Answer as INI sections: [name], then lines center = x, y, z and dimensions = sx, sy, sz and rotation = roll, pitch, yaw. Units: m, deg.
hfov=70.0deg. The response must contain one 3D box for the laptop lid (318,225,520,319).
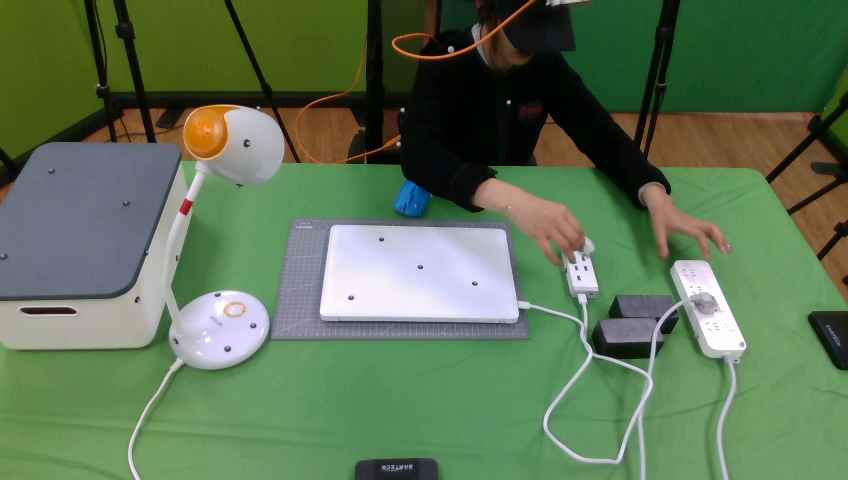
[laptop lid]
center = -0.009, 0.053, 1.130
dimensions = 0.357, 0.013, 0.240
rotation = 2, 43, -2

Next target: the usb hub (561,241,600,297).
[usb hub]
center = 0.300, 0.055, 1.162
dimensions = 0.049, 0.025, 0.124
rotation = 2, 46, -3

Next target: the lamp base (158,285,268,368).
[lamp base]
center = -0.348, 0.102, 0.963
dimensions = 0.160, 0.181, 0.178
rotation = 24, 51, 18

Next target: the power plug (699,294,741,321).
[power plug]
center = 0.515, 0.127, 1.070
dimensions = 0.035, 0.053, 0.072
rotation = -18, 56, -7

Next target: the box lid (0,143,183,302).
[box lid]
center = -0.567, -0.045, 0.999
dimensions = 0.263, 0.015, 0.369
rotation = -1, 46, -4

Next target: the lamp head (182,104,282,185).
[lamp head]
center = -0.271, -0.133, 0.825
dimensions = 0.112, 0.112, 0.123
rotation = 20, 8, 15

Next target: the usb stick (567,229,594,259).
[usb stick]
center = 0.275, 0.009, 1.051
dimensions = 0.027, 0.059, 0.021
rotation = -32, 32, 20

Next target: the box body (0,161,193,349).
[box body]
center = -0.570, 0.006, 1.054
dimensions = 0.254, 0.161, 0.361
rotation = -1, 46, -4

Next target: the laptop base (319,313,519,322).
[laptop base]
center = -0.009, 0.063, 1.137
dimensions = 0.354, 0.023, 0.234
rotation = 1, 42, -3

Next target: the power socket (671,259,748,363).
[power socket]
center = 0.517, 0.120, 1.107
dimensions = 0.072, 0.033, 0.225
rotation = 0, 46, -2

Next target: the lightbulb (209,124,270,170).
[lightbulb]
center = -0.260, -0.135, 0.847
dimensions = 0.059, 0.108, 0.059
rotation = -4, 79, 20

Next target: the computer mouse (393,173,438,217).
[computer mouse]
center = -0.018, -0.099, 1.282
dimensions = 0.062, 0.041, 0.117
rotation = 20, 52, 13
